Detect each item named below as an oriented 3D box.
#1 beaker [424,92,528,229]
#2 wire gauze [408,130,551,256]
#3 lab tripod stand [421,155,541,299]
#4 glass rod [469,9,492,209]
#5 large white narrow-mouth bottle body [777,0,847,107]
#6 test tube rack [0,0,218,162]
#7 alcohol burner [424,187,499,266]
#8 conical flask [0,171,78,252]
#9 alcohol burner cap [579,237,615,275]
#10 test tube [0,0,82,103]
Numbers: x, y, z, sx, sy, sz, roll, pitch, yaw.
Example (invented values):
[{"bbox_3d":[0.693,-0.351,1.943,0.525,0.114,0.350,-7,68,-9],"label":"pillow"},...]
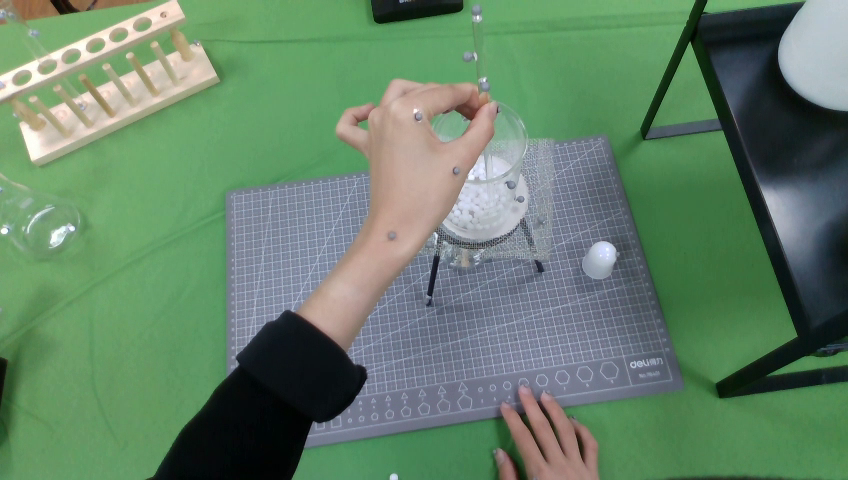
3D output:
[{"bbox_3d":[0.039,-0.057,0.493,0.084,0.101,0.073,-31,69,-9],"label":"beaker"},{"bbox_3d":[0.052,-0.044,0.539,0.121,0.011,0.124,5,66,3],"label":"wire gauze"},{"bbox_3d":[0.050,-0.012,0.598,0.148,0.132,0.147,-1,65,2],"label":"lab tripod stand"},{"bbox_3d":[0.042,-0.080,0.435,0.008,0.201,0.008,-4,58,7],"label":"glass rod"},{"bbox_3d":[0.342,-0.188,0.430,0.102,0.196,0.101,-2,67,5],"label":"large white narrow-mouth bottle body"},{"bbox_3d":[-0.386,-0.193,0.729,0.242,0.086,0.066,-28,68,-9],"label":"test tube rack"},{"bbox_3d":[0.038,-0.020,0.613,0.078,0.120,0.077,-1,65,2],"label":"alcohol burner"},{"bbox_3d":[-0.439,-0.042,0.648,0.075,0.123,0.075,-1,66,3],"label":"conical flask"},{"bbox_3d":[0.181,0.014,0.629,0.034,0.048,0.033,-1,66,3],"label":"alcohol burner cap"},{"bbox_3d":[-0.432,-0.210,0.685,0.017,0.151,0.017,-1,60,3],"label":"test tube"}]
